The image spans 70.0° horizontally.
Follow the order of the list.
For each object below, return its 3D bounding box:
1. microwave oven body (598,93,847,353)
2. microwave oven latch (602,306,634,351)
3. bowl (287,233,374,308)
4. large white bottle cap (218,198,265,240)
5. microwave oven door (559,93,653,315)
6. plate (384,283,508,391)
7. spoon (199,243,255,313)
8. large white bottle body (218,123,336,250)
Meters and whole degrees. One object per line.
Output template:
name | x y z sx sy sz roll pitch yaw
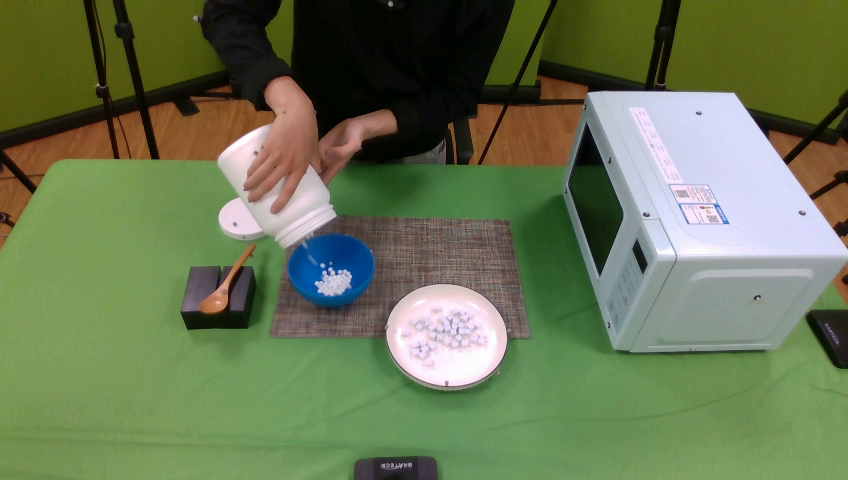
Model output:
microwave oven body | 0.475 -0.041 1.109 0.326 0.261 0.438 -1 45 -4
microwave oven latch | 0.332 0.153 1.044 0.030 0.029 0.078 0 45 -4
bowl | -0.164 0.068 1.078 0.151 0.077 0.150 3 46 -2
large white bottle cap | -0.355 -0.045 1.220 0.115 0.018 0.114 2 45 -2
microwave oven door | 0.327 -0.074 1.123 0.039 0.245 0.353 -1 46 -5
plate | 0.036 0.165 1.029 0.209 0.038 0.208 2 49 -2
spoon | -0.334 0.062 1.052 0.041 0.022 0.193 8 40 8
large white bottle body | -0.243 -0.088 1.025 0.130 0.130 0.185 -36 96 -32
